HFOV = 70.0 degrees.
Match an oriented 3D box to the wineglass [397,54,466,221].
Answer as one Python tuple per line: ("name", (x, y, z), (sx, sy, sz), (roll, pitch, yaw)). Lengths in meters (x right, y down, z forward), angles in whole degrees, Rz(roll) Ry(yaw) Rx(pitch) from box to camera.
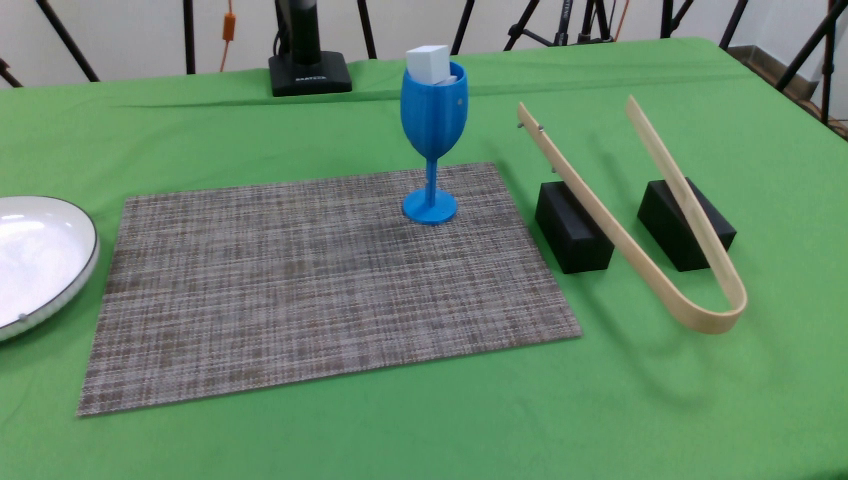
("wineglass", (0.006, -0.108, 0.661), (0.074, 0.174, 0.073), (1, 42, -1))

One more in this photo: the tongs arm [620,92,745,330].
("tongs arm", (0.269, -0.059, 0.667), (0.028, 0.028, 0.383), (4, 42, -6))

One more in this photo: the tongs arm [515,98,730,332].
("tongs arm", (0.190, -0.051, 0.653), (0.051, 0.027, 0.380), (-7, 43, -14))

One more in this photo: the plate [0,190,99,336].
("plate", (-0.428, 0.026, 0.594), (0.209, 0.038, 0.207), (2, 42, -1))
